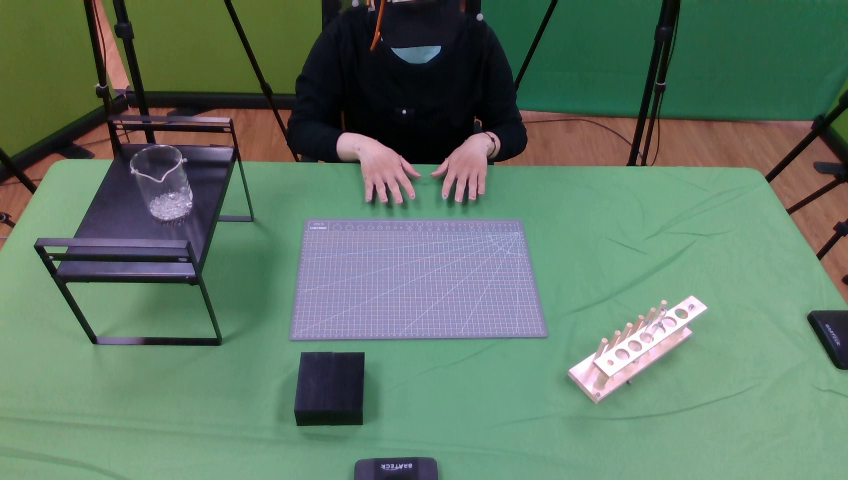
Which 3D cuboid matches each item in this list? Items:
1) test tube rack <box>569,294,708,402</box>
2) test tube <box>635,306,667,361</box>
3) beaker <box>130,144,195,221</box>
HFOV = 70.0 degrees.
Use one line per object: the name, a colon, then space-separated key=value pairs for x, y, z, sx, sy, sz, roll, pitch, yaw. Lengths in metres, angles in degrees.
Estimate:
test tube rack: x=0.360 y=0.167 z=1.014 sx=0.242 sy=0.085 sz=0.066 roll=-25 pitch=53 yaw=-25
test tube: x=0.356 y=0.151 z=0.961 sx=0.017 sy=0.151 sz=0.017 roll=0 pitch=51 yaw=0
beaker: x=-0.403 y=-0.085 z=0.944 sx=0.074 sy=0.101 sz=0.083 roll=-15 pitch=50 yaw=-17
